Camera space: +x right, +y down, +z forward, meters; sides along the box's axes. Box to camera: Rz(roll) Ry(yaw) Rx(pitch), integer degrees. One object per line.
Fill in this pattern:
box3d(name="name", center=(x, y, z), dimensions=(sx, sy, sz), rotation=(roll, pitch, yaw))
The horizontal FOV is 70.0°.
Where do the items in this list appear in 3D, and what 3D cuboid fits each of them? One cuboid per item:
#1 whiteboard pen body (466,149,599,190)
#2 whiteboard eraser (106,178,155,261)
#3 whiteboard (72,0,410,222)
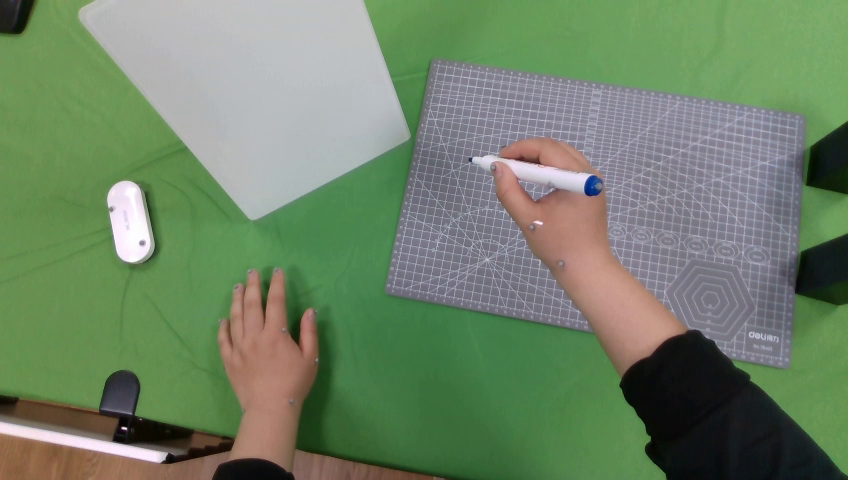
box3d(name="whiteboard pen body", center=(0.078, -0.058, 0.475), dimensions=(0.139, 0.017, 0.017), rotation=(23, 76, 50))
box3d(name="whiteboard eraser", center=(-0.345, -0.025, 0.710), dimensions=(0.041, 0.019, 0.101), rotation=(-17, 78, -2))
box3d(name="whiteboard", center=(-0.171, -0.199, 0.629), dimensions=(0.217, 0.308, 0.142), rotation=(-28, 58, -3))
